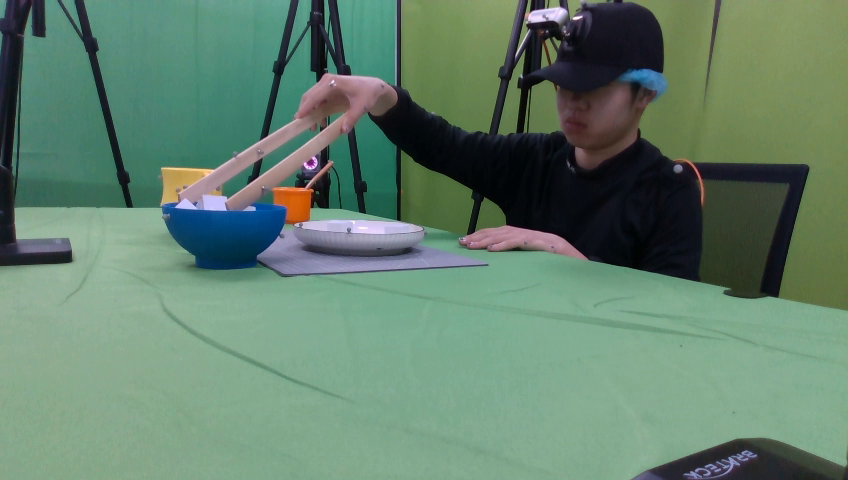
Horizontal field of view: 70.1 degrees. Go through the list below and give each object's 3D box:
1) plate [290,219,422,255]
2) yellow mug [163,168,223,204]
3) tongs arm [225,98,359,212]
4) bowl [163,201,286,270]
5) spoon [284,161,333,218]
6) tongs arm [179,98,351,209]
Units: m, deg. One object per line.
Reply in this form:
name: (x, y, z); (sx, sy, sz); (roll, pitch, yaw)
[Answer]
plate: (-0.108, -0.005, 0.963); (0.208, 0.039, 0.207); (3, 7, 0)
yellow mug: (-0.383, -0.087, 1.026); (0.130, 0.064, 0.100); (11, 11, 44)
tongs arm: (-0.177, -0.134, 0.892); (0.028, 0.028, 0.388); (4, 32, 21)
bowl: (-0.256, -0.006, 0.780); (0.151, 0.077, 0.151); (3, 8, 0)
spoon: (-0.262, -0.115, 1.359); (0.041, 0.194, 0.022); (12, -33, 38)
tongs arm: (-0.217, -0.141, 0.906); (0.050, 0.026, 0.385); (8, 33, 20)
